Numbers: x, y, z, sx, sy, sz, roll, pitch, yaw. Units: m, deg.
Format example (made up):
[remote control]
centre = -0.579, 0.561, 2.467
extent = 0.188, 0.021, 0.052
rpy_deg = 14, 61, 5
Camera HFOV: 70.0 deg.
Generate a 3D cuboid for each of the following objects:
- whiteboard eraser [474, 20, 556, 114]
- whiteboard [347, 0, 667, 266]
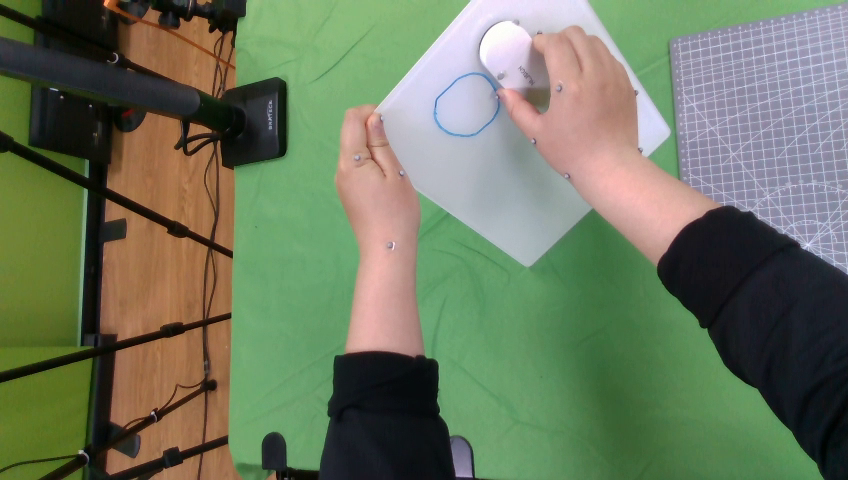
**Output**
[whiteboard eraser]
centre = 0.077, -0.143, 0.509
extent = 0.041, 0.102, 0.018
rpy_deg = -45, 47, 11
[whiteboard]
centre = 0.073, -0.142, 0.619
extent = 0.217, 0.308, 0.142
rpy_deg = -46, 47, 14
